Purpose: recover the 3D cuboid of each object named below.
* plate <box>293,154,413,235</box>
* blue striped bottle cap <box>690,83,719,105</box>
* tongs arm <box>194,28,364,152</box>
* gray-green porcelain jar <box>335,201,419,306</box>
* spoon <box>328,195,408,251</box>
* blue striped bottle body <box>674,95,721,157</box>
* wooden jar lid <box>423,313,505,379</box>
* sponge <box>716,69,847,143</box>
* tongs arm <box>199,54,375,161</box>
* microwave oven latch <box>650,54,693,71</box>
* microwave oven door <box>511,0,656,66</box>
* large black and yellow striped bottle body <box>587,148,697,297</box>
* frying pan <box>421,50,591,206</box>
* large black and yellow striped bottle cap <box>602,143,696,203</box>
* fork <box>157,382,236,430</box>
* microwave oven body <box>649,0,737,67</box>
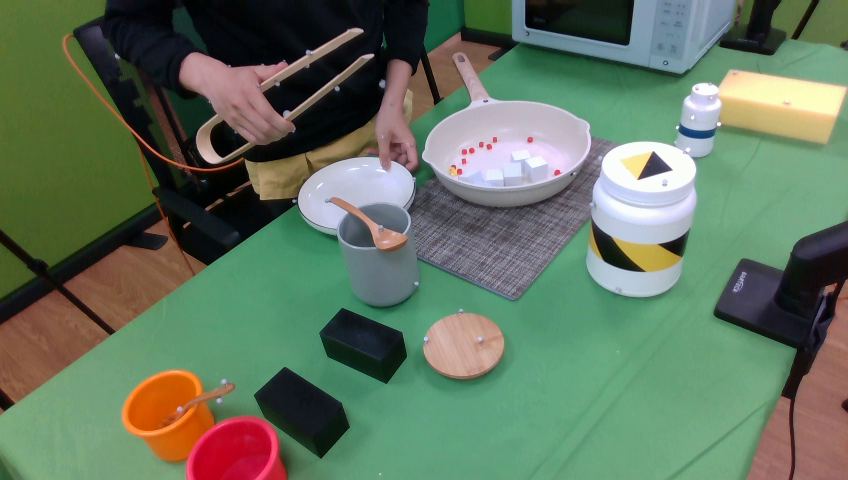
[{"bbox_3d":[-0.119,-0.075,1.052,0.207,0.039,0.206,-3,43,4],"label":"plate"},{"bbox_3d":[0.481,-0.251,1.038,0.044,0.021,0.044,-5,40,5],"label":"blue striped bottle cap"},{"bbox_3d":[-0.216,-0.197,0.843,0.382,0.051,0.026,-13,15,39],"label":"tongs arm"},{"bbox_3d":[-0.064,0.024,0.872,0.106,0.127,0.105,-4,41,4],"label":"gray-green porcelain jar"},{"bbox_3d":[-0.083,-0.029,0.829,0.042,0.022,0.192,-32,43,-21],"label":"spoon"},{"bbox_3d":[0.486,-0.213,1.071,0.063,0.121,0.063,-4,41,4],"label":"blue striped bottle body"},{"bbox_3d":[0.053,0.142,0.800,0.108,0.021,0.108,-5,39,4],"label":"wooden jar lid"},{"bbox_3d":[0.663,-0.256,1.142,0.205,0.061,0.118,19,47,28],"label":"sponge"},{"bbox_3d":[-0.206,-0.177,0.847,0.385,0.028,0.028,-18,15,40],"label":"tongs arm"},{"bbox_3d":[0.531,-0.386,1.301,0.078,0.029,0.030,26,51,33],"label":"microwave oven latch"},{"bbox_3d":[0.350,-0.539,1.349,0.353,0.245,0.039,24,50,31],"label":"microwave oven door"},{"bbox_3d":[0.298,-0.026,0.835,0.131,0.185,0.130,-4,41,4],"label":"large black and yellow striped bottle body"},{"bbox_3d":[0.127,-0.233,1.155,0.307,0.103,0.484,-11,49,-5],"label":"frying pan"},{"bbox_3d":[0.289,-0.088,0.779,0.115,0.019,0.114,-5,39,4],"label":"large black and yellow striped bottle cap"},{"bbox_3d":[-0.262,0.189,0.690,0.018,0.206,0.028,49,43,-7],"label":"fork"},{"bbox_3d":[0.475,-0.602,1.411,0.438,0.261,0.327,23,50,32],"label":"microwave oven body"}]
